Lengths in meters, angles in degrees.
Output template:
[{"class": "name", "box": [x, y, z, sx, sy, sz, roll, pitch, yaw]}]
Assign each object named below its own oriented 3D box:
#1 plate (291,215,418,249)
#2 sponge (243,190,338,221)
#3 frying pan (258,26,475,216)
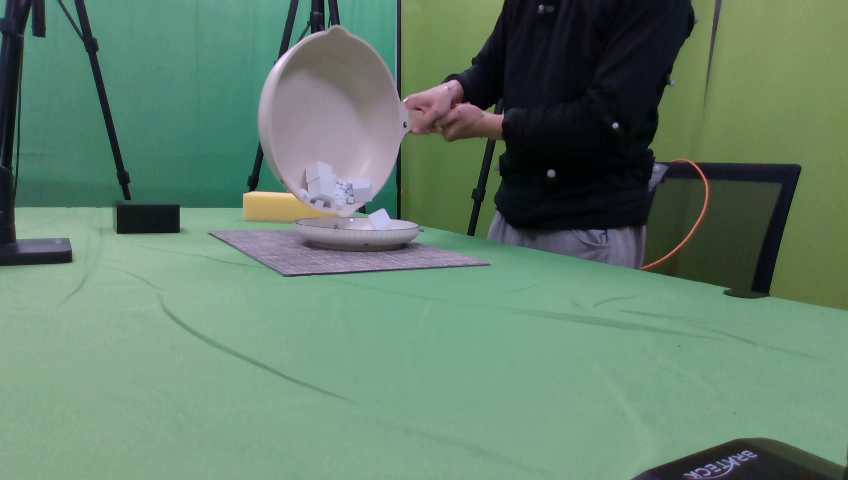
[{"class": "plate", "box": [-0.115, -0.013, 1.001, 0.208, 0.039, 0.207, 2, 7, 0]}, {"class": "sponge", "box": [-0.298, -0.077, 1.388, 0.207, 0.061, 0.118, 2, 8, -8]}, {"class": "frying pan", "box": [-0.080, -0.211, 1.075, 0.490, 0.306, 0.102, -13, 20, -41]}]
